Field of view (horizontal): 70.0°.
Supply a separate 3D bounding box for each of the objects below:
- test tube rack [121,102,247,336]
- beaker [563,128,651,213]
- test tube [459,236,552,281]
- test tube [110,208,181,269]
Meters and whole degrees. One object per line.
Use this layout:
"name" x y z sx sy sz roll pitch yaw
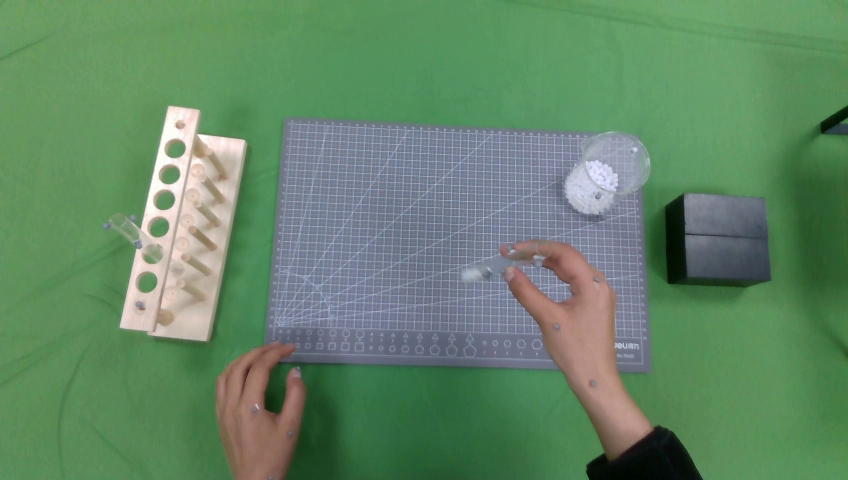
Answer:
"test tube rack" -0.261 -0.021 0.674 0.067 0.085 0.241 7 77 -2
"beaker" 0.205 -0.078 0.709 0.084 0.100 0.074 33 77 6
"test tube" 0.069 0.020 0.550 0.017 0.150 0.017 5 76 -22
"test tube" -0.279 0.002 0.618 0.017 0.151 0.017 1 70 -1
